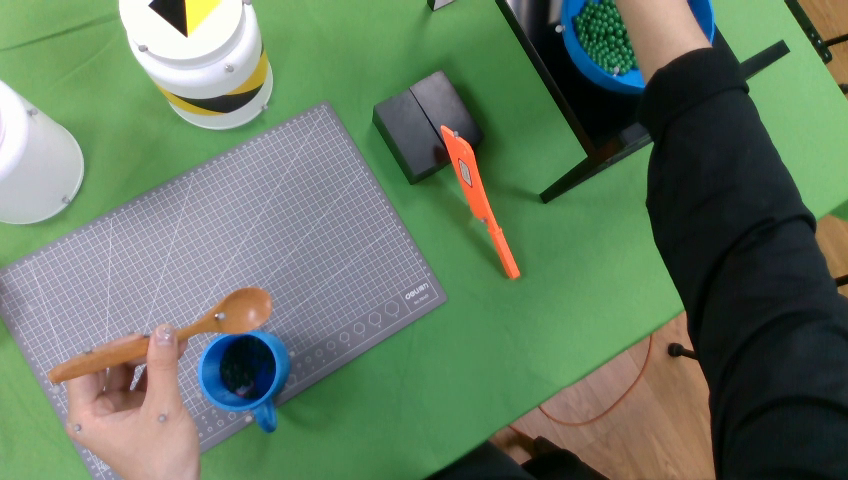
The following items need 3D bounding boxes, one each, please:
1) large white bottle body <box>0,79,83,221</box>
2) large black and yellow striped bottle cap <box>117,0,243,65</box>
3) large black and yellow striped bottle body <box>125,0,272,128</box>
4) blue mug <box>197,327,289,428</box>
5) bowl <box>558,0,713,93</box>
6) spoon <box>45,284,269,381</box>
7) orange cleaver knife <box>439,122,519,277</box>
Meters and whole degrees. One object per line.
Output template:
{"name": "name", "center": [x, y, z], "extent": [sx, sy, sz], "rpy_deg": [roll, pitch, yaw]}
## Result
{"name": "large white bottle body", "center": [-0.457, -0.099, 0.626], "extent": [0.131, 0.185, 0.130], "rpy_deg": [1, 81, -7]}
{"name": "large black and yellow striped bottle cap", "center": [-0.237, -0.229, 0.590], "extent": [0.115, 0.019, 0.114], "rpy_deg": [1, 83, -9]}
{"name": "large black and yellow striped bottle body", "center": [-0.246, -0.214, 0.672], "extent": [0.131, 0.184, 0.130], "rpy_deg": [1, 81, -7]}
{"name": "blue mug", "center": [-0.189, 0.152, 0.667], "extent": [0.082, 0.106, 0.116], "rpy_deg": [-22, 85, -10]}
{"name": "bowl", "center": [0.197, -0.210, 0.606], "extent": [0.152, 0.077, 0.151], "rpy_deg": [1, 82, -7]}
{"name": "spoon", "center": [-0.190, 0.069, 0.464], "extent": [0.021, 0.194, 0.042], "rpy_deg": [9, 102, 24]}
{"name": "orange cleaver knife", "center": [0.067, -0.047, 0.742], "extent": [0.012, 0.076, 0.213], "rpy_deg": [-31, 118, -12]}
